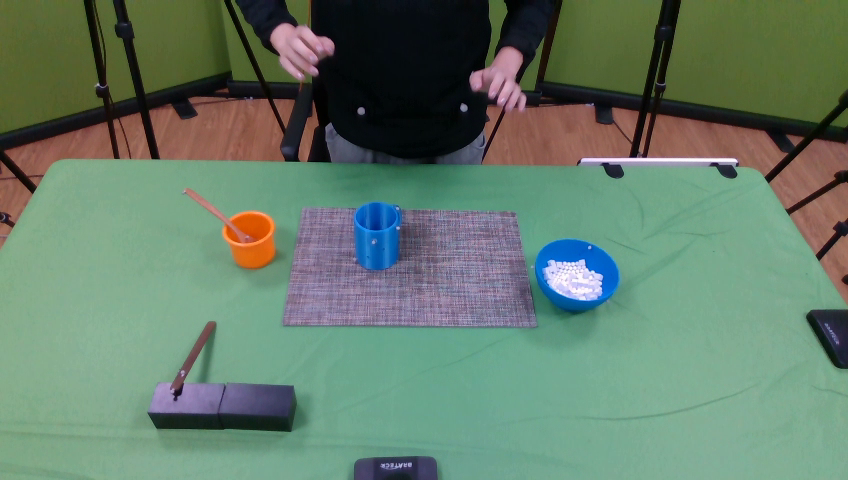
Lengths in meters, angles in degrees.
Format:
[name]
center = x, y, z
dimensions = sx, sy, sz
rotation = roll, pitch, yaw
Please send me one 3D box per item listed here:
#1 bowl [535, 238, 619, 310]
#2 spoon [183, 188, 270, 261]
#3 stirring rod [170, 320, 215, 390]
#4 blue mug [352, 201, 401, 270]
[bowl]
center = 0.270, 0.076, 1.107
dimensions = 0.151, 0.077, 0.150
rotation = 2, 46, -2
[spoon]
center = -0.360, -0.029, 1.110
dimensions = 0.021, 0.194, 0.041
rotation = -21, 31, 41
[stirring rod]
center = -0.368, 0.180, 0.969
dimensions = 0.014, 0.006, 0.175
rotation = 0, 27, 0
[blue mug]
center = -0.082, -0.017, 1.144
dimensions = 0.082, 0.106, 0.116
rotation = 30, 51, 22
